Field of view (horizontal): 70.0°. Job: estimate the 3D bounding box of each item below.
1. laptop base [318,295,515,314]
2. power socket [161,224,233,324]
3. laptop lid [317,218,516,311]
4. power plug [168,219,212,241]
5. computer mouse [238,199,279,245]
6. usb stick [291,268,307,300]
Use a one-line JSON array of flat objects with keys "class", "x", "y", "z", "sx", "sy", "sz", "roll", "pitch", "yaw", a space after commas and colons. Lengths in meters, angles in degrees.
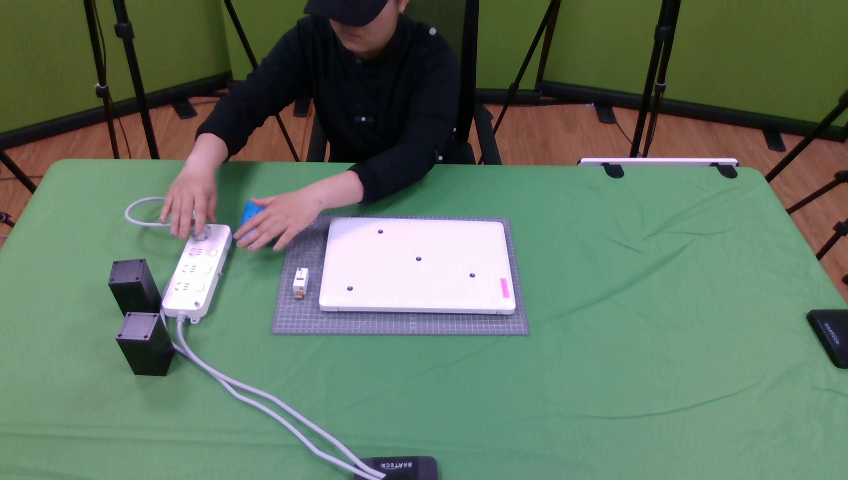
[{"class": "laptop base", "x": -0.014, "y": 0.049, "z": 1.150, "sx": 0.354, "sy": 0.023, "sz": 0.234, "roll": 1, "pitch": 42, "yaw": -3}, {"class": "power socket", "x": -0.411, "y": 0.052, "z": 1.107, "sx": 0.072, "sy": 0.033, "sz": 0.225, "roll": 5, "pitch": 46, "yaw": -1}, {"class": "laptop lid", "x": -0.013, "y": 0.040, "z": 1.143, "sx": 0.357, "sy": 0.013, "sz": 0.240, "roll": 3, "pitch": 43, "yaw": -2}, {"class": "power plug", "x": -0.437, "y": -0.018, "z": 1.146, "sx": 0.072, "sy": 0.053, "sz": 0.035, "roll": 12, "pitch": 46, "yaw": 11}, {"class": "computer mouse", "x": -0.327, "y": -0.039, "z": 1.200, "sx": 0.063, "sy": 0.041, "sz": 0.116, "roll": 3, "pitch": 49, "yaw": -2}, {"class": "usb stick", "x": -0.226, "y": 0.081, "z": 1.094, "sx": 0.021, "sy": 0.027, "sz": 0.059, "roll": 5, "pitch": 48, "yaw": -2}]
